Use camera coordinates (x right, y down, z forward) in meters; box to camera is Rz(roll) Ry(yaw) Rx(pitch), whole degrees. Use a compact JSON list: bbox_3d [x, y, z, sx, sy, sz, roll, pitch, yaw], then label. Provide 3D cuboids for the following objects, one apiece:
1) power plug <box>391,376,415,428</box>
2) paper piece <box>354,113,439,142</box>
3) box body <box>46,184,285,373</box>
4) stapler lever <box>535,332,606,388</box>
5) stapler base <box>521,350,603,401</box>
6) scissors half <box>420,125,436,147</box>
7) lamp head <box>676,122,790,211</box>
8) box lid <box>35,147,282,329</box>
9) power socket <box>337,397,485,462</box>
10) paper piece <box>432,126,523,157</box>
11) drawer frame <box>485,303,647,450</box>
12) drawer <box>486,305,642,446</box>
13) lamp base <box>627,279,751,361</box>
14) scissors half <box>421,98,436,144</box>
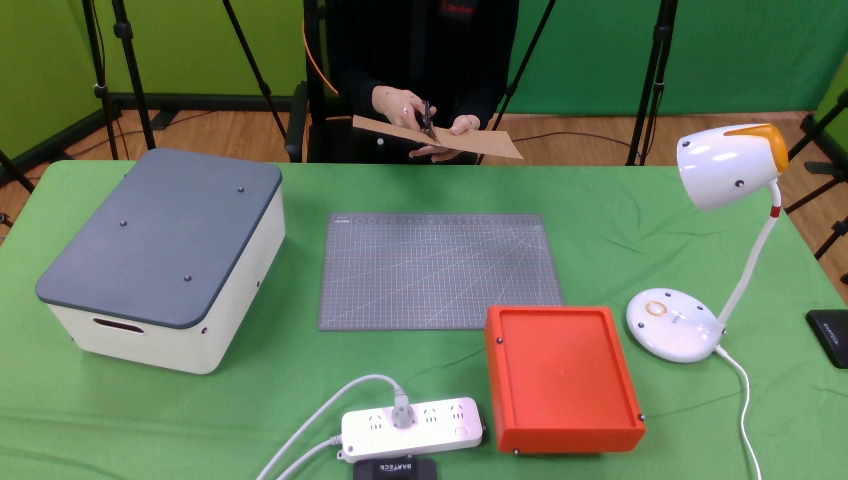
[{"bbox_3d":[-0.030,0.249,0.917,0.035,0.053,0.072,3,46,0],"label":"power plug"},{"bbox_3d":[-0.046,-0.180,0.966,0.135,0.004,0.135,12,16,-9],"label":"paper piece"},{"bbox_3d":[-0.414,0.029,1.040,0.254,0.161,0.362,10,46,5],"label":"box body"},{"bbox_3d":[0.225,0.182,0.928,0.118,0.040,0.027,27,34,15],"label":"stapler lever"},{"bbox_3d":[0.217,0.203,0.942,0.130,0.024,0.041,26,34,16],"label":"stapler base"},{"bbox_3d":[0.007,-0.182,1.046,0.013,0.040,0.175,2,7,-7],"label":"scissors half"},{"bbox_3d":[0.423,-0.104,0.819,0.122,0.113,0.112,-13,33,40],"label":"lamp head"},{"bbox_3d":[-0.411,-0.023,0.987,0.263,0.015,0.369,10,47,5],"label":"box lid"},{"bbox_3d":[-0.018,0.285,0.915,0.227,0.033,0.071,-4,46,-8],"label":"power socket"},{"bbox_3d":[0.083,-0.163,0.987,0.136,0.009,0.137,8,23,-9],"label":"paper piece"},{"bbox_3d":[0.204,0.202,0.917,0.202,0.083,0.212,1,47,-4],"label":"drawer frame"},{"bbox_3d":[0.202,0.200,0.918,0.195,0.073,0.210,2,47,-4],"label":"drawer"},{"bbox_3d":[0.460,0.100,1.027,0.178,0.181,0.160,27,51,17],"label":"lamp base"},{"bbox_3d":[0.008,-0.203,1.038,0.013,0.040,0.174,-3,35,-6],"label":"scissors half"}]
